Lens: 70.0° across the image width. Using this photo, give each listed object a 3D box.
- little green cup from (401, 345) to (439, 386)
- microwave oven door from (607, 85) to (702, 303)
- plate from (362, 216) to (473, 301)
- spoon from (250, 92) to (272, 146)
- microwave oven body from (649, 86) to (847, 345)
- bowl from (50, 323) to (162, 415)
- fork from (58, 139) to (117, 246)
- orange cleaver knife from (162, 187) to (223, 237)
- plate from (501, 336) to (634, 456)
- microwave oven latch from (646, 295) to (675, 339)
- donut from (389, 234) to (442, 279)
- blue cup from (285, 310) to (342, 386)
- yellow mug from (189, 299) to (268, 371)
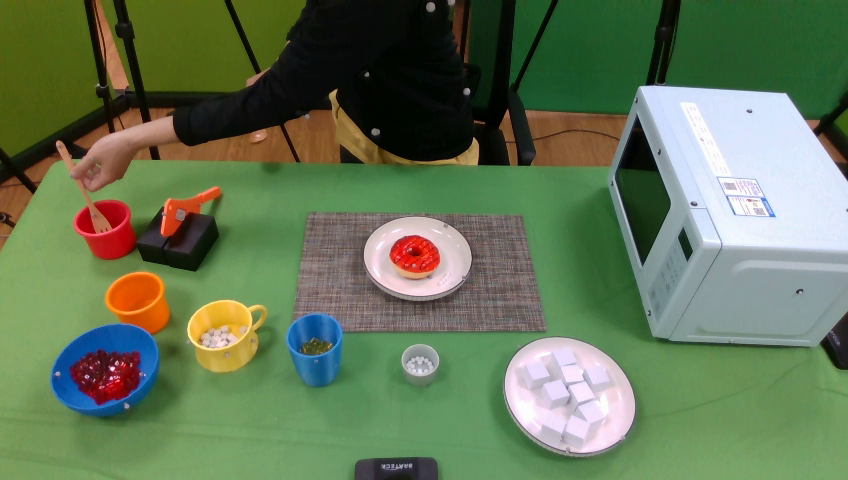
[{"bbox_3d":[-0.007,0.206,0.988,0.061,0.039,0.061,2,46,-2],"label":"little green cup"},{"bbox_3d":[0.423,-0.094,1.140,0.039,0.245,0.353,2,46,-1],"label":"microwave oven door"},{"bbox_3d":[-0.012,0.038,1.145,0.209,0.038,0.208,2,46,-2],"label":"plate"},{"bbox_3d":[-0.361,-0.276,1.364,0.041,0.022,0.192,-13,51,14],"label":"spoon"},{"bbox_3d":[0.568,-0.053,1.118,0.326,0.261,0.439,2,45,-1],"label":"microwave oven body"},{"bbox_3d":[-0.472,0.209,0.924,0.151,0.077,0.150,2,45,-2],"label":"bowl"},{"bbox_3d":[-0.618,-0.086,1.110,0.028,0.208,0.018,-25,12,-16],"label":"fork"},{"bbox_3d":[-0.448,-0.059,1.180,0.012,0.077,0.211,12,17,6],"label":"orange cleaver knife"},{"bbox_3d":[0.225,0.249,0.964,0.208,0.039,0.206,2,46,-2],"label":"plate"},{"bbox_3d":[0.412,0.134,1.061,0.030,0.029,0.078,4,45,1],"label":"microwave oven latch"},{"bbox_3d":[-0.016,0.031,1.135,0.099,0.048,0.098,4,44,-4],"label":"donut"},{"bbox_3d":[-0.170,0.179,0.958,0.093,0.101,0.092,2,44,-1],"label":"blue cup"},{"bbox_3d":[-0.316,0.148,1.002,0.131,0.064,0.099,-33,56,-31],"label":"yellow mug"}]
